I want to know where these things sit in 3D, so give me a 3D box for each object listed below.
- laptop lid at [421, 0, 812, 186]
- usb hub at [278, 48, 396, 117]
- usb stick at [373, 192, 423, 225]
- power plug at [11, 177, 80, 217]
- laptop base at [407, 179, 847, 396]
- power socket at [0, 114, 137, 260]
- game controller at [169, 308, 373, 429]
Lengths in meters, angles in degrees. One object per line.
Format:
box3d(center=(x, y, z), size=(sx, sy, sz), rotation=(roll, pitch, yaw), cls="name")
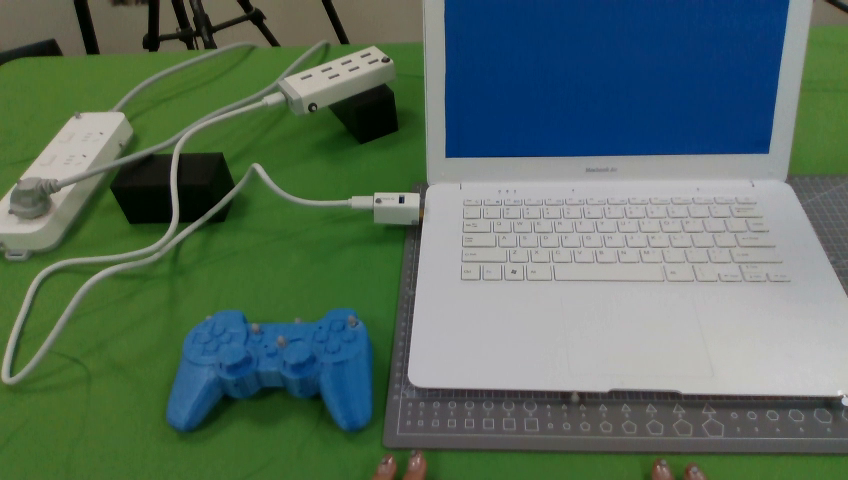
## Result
box3d(center=(0.174, -0.163, 0.575), size=(0.356, 0.243, 0.013), rotation=(-2, 17, 5), cls="laptop lid")
box3d(center=(-0.097, -0.179, 0.687), size=(0.125, 0.025, 0.049), rotation=(-27, 50, -19), cls="usb hub")
box3d(center=(-0.019, -0.030, 0.584), size=(0.059, 0.027, 0.021), rotation=(3, 44, -3), cls="usb stick")
box3d(center=(-0.371, -0.035, 0.597), size=(0.072, 0.053, 0.035), rotation=(11, 46, 12), cls="power plug")
box3d(center=(0.170, 0.031, 0.527), size=(0.354, 0.023, 0.233), rotation=(0, 48, 5), cls="laptop base")
box3d(center=(-0.393, -0.070, 0.669), size=(0.072, 0.033, 0.224), rotation=(2, 45, 6), cls="power socket")
box3d(center=(-0.114, 0.094, 0.470), size=(0.155, 0.052, 0.096), rotation=(0, 41, 4), cls="game controller")
